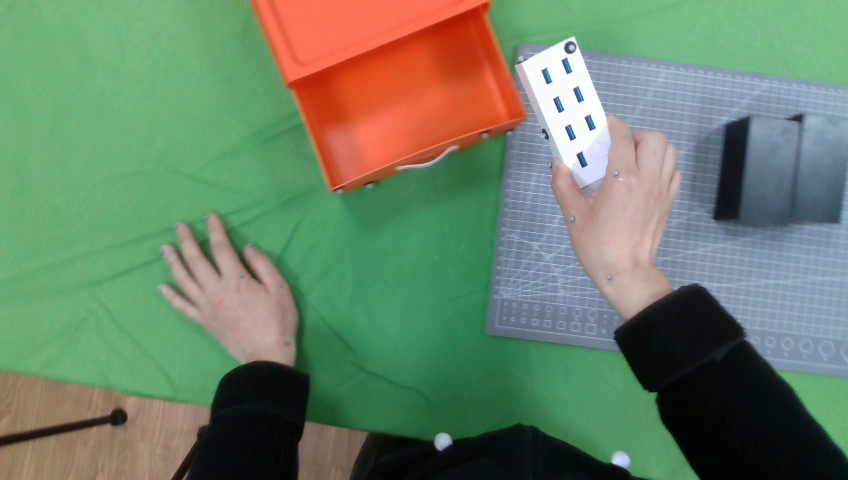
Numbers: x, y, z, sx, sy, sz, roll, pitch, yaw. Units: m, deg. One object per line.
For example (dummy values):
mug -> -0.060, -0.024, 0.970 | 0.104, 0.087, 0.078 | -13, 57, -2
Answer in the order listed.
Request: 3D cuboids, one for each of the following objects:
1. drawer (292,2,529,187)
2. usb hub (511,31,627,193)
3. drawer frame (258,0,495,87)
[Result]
drawer -> -0.030, -0.178, 0.573 | 0.194, 0.073, 0.212 | -20, 93, -1
usb hub -> 0.123, -0.106, 0.508 | 0.049, 0.025, 0.126 | -29, 104, -1
drawer frame -> -0.067, -0.274, 0.565 | 0.202, 0.082, 0.213 | -23, 92, -1
